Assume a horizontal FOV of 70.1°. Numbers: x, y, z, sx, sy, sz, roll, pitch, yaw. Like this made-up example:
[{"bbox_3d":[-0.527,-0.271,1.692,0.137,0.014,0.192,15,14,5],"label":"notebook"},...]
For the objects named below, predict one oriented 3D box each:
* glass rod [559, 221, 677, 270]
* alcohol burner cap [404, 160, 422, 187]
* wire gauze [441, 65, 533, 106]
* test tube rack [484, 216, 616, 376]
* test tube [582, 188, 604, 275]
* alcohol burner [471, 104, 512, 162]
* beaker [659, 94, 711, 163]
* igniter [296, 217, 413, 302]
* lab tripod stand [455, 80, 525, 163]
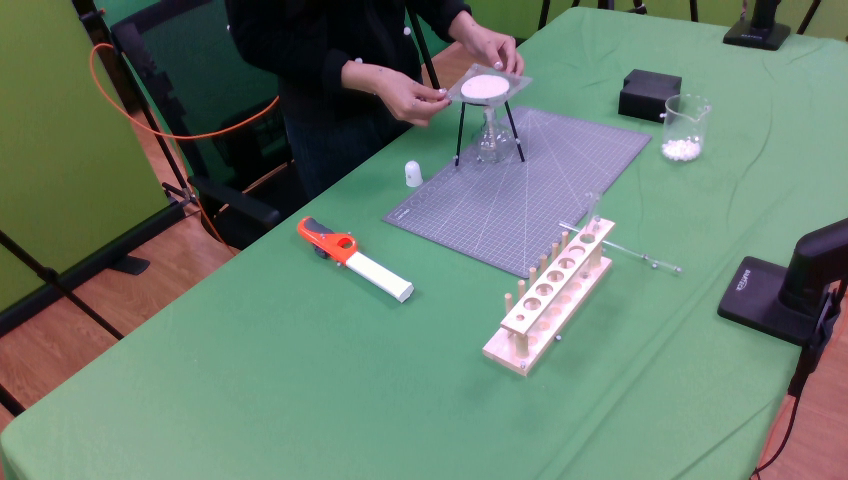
[{"bbox_3d":[0.292,0.007,0.927,0.198,0.008,0.008,26,52,36],"label":"glass rod"},{"bbox_3d":[-0.022,-0.125,1.118,0.034,0.048,0.033,-5,40,5],"label":"alcohol burner cap"},{"bbox_3d":[0.112,-0.275,1.078,0.120,0.011,0.125,21,48,28],"label":"wire gauze"},{"bbox_3d":[0.174,0.064,0.823,0.066,0.085,0.243,23,49,33],"label":"test tube rack"},{"bbox_3d":[0.228,-0.007,0.821,0.017,0.151,0.017,-3,42,3],"label":"test tube"},{"bbox_3d":[0.125,-0.207,1.126,0.078,0.119,0.077,-5,43,5],"label":"alcohol burner"},{"bbox_3d":[0.457,-0.192,1.063,0.074,0.101,0.083,-7,41,4],"label":"beaker"},{"bbox_3d":[-0.121,0.025,0.970,0.274,0.025,0.057,29,63,37],"label":"igniter"},{"bbox_3d":[0.120,-0.219,1.126,0.148,0.132,0.147,-4,39,4],"label":"lab tripod stand"}]
